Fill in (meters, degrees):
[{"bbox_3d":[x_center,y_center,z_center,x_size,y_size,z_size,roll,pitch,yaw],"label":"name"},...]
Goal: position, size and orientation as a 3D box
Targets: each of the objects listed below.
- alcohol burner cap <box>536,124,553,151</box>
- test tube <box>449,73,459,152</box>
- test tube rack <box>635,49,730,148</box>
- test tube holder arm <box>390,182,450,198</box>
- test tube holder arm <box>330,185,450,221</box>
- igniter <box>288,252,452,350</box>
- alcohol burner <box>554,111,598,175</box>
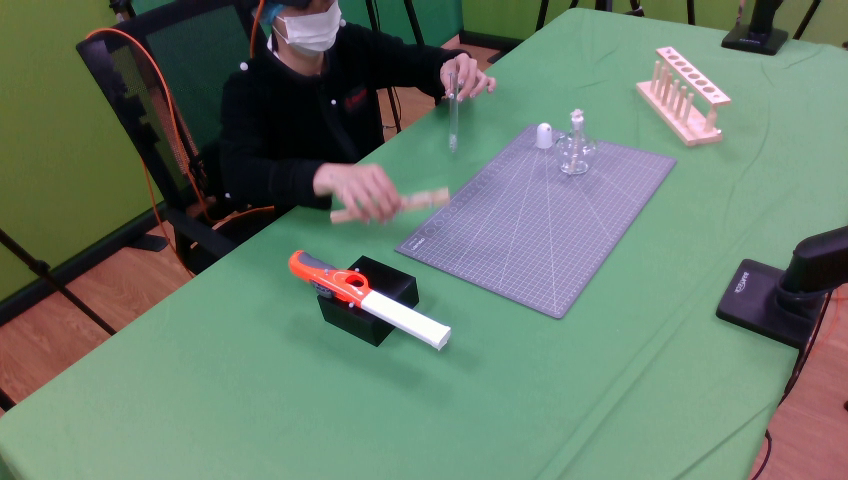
[{"bbox_3d":[0.232,-0.199,1.158,0.034,0.048,0.033,-5,41,4],"label":"alcohol burner cap"},{"bbox_3d":[0.053,-0.222,1.068,0.017,0.151,0.017,-1,39,1],"label":"test tube"},{"bbox_3d":[0.497,-0.283,1.185,0.067,0.085,0.240,-10,40,-2],"label":"test tube rack"},{"bbox_3d":[-0.006,-0.067,0.874,0.088,0.015,0.010,-13,26,7],"label":"test tube holder arm"},{"bbox_3d":[-0.050,-0.054,0.874,0.178,0.015,0.013,-13,26,7],"label":"test tube holder arm"},{"bbox_3d":[-0.084,0.077,0.821,0.274,0.025,0.057,23,48,27],"label":"igniter"},{"bbox_3d":[0.270,-0.175,1.066,0.078,0.119,0.077,-4,42,4],"label":"alcohol burner"}]
